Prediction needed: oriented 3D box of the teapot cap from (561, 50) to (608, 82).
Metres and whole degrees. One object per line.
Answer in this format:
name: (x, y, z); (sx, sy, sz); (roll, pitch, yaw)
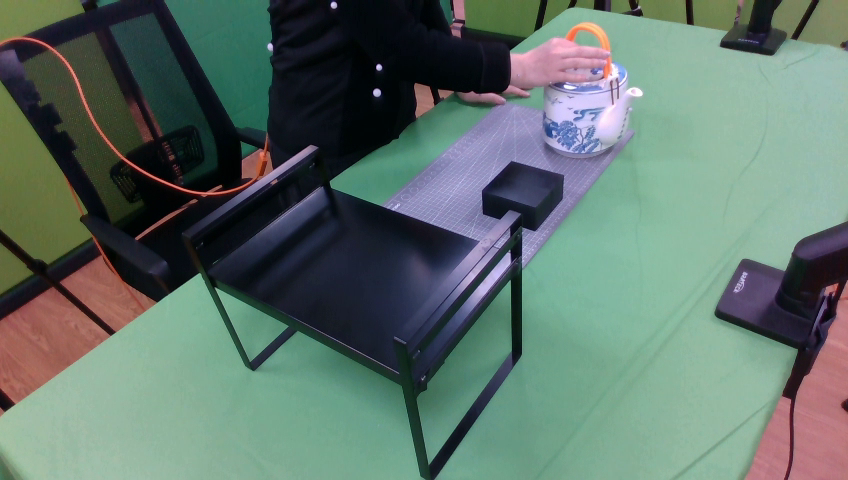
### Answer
teapot cap: (0.284, -0.309, 1.058); (0.085, 0.044, 0.085); (0, 39, 1)

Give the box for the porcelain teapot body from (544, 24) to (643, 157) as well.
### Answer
porcelain teapot body: (0.306, -0.258, 1.070); (0.146, 0.226, 0.203); (-26, 44, -20)
